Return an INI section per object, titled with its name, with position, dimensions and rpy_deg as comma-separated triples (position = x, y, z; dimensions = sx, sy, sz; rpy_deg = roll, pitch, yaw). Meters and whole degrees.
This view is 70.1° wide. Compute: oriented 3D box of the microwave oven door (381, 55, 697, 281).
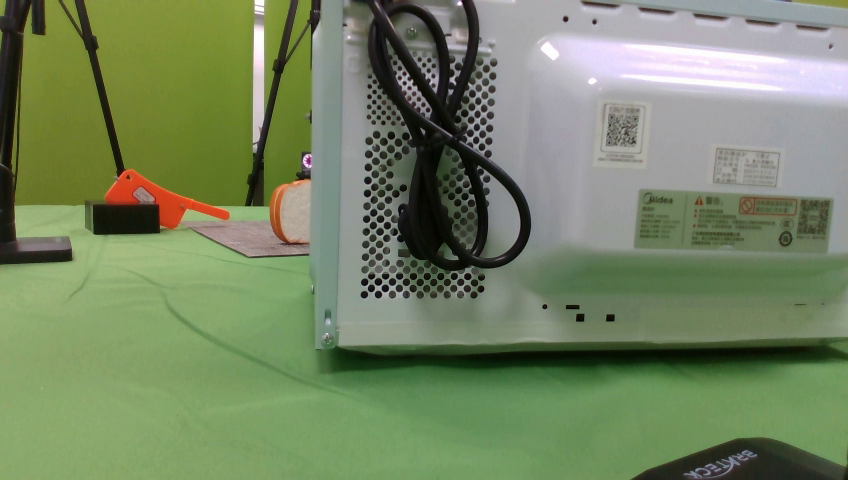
[microwave oven door]
position = 0.133, -0.079, 0.702
dimensions = 0.356, 0.243, 0.039
rpy_deg = 2, 8, -6

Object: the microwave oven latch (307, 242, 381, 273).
[microwave oven latch]
position = -0.086, 0.019, 0.656
dimensions = 0.079, 0.029, 0.030
rpy_deg = 2, 7, -10

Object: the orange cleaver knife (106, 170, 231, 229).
[orange cleaver knife]
position = -0.458, -0.060, 1.097
dimensions = 0.212, 0.077, 0.012
rpy_deg = 23, -4, -38

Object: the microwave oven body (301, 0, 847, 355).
[microwave oven body]
position = 0.120, -0.053, 0.535
dimensions = 0.443, 0.260, 0.325
rpy_deg = 2, 7, -11

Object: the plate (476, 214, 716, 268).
[plate]
position = 0.151, -0.002, 0.551
dimensions = 0.208, 0.039, 0.207
rpy_deg = 0, 5, 0

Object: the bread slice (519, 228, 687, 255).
[bread slice]
position = 0.172, 0.001, 0.563
dimensions = 0.134, 0.018, 0.107
rpy_deg = -2, 4, 31
